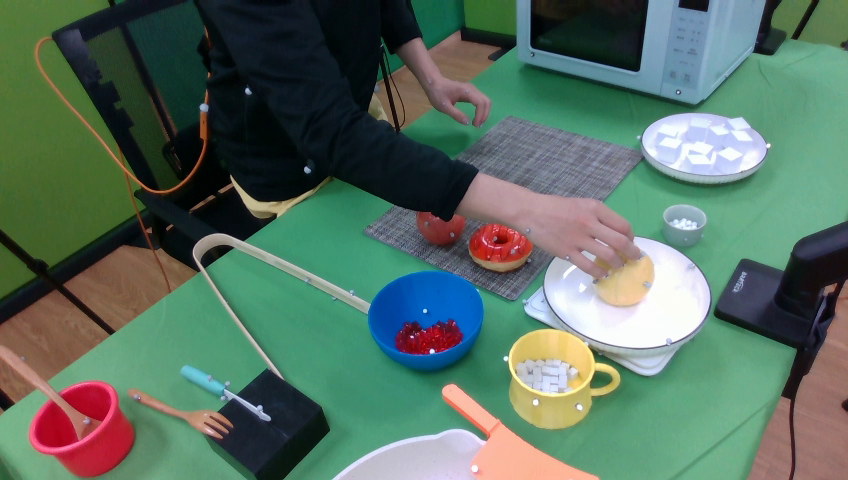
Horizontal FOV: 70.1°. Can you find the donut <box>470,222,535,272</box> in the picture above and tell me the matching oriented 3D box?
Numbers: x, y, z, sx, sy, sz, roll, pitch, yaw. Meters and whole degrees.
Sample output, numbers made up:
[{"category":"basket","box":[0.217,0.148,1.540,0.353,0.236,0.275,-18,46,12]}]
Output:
[{"category":"donut","box":[0.119,0.009,0.923,0.099,0.048,0.098,-3,38,3]}]

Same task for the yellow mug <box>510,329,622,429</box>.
[{"category":"yellow mug","box":[0.168,0.164,0.721,0.130,0.064,0.099,0,40,8]}]

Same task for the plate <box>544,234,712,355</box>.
[{"category":"plate","box":[0.262,0.072,0.792,0.209,0.038,0.208,-4,41,4]}]

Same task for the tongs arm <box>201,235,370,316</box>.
[{"category":"tongs arm","box":[-0.209,0.062,0.924,0.381,0.026,0.051,23,51,33]}]

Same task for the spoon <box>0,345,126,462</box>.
[{"category":"spoon","box":[-0.434,0.192,0.720,0.194,0.021,0.042,47,53,-6]}]

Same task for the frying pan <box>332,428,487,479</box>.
[{"category":"frying pan","box":[-0.089,0.306,0.564,0.487,0.103,0.306,10,41,7]}]

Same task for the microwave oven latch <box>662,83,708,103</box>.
[{"category":"microwave oven latch","box":[0.518,-0.296,1.204,0.078,0.029,0.030,28,52,35]}]

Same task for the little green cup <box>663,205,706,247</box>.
[{"category":"little green cup","box":[0.396,-0.020,0.926,0.061,0.039,0.061,-4,40,4]}]

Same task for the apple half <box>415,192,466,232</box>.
[{"category":"apple half","box":[0.028,-0.042,0.974,0.081,0.075,0.053,-4,37,7]}]

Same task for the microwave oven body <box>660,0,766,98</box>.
[{"category":"microwave oven body","box":[0.472,-0.513,1.317,0.438,0.261,0.327,26,51,34]}]

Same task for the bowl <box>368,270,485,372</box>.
[{"category":"bowl","box":[0.007,0.118,0.791,0.151,0.077,0.150,-5,39,4]}]

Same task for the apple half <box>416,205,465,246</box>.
[{"category":"apple half","box":[0.026,-0.017,0.943,0.081,0.081,0.032,-4,37,4]}]

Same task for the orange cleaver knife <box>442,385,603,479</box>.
[{"category":"orange cleaver knife","box":[0.086,0.219,0.612,0.209,0.012,0.077,28,49,35]}]

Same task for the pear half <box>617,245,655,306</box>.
[{"category":"pear half","box":[0.273,0.048,0.764,0.031,0.088,0.070,22,48,33]}]

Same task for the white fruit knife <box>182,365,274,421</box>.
[{"category":"white fruit knife","box":[-0.245,0.188,0.747,0.205,0.027,0.016,9,41,41]}]

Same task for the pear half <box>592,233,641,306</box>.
[{"category":"pear half","box":[0.246,0.028,0.778,0.055,0.110,0.076,23,48,33]}]

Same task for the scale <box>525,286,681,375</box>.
[{"category":"scale","box":[0.254,0.091,0.821,0.199,0.032,0.149,27,51,35]}]

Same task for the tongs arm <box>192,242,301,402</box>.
[{"category":"tongs arm","box":[-0.268,0.106,0.882,0.028,0.028,0.384,-34,45,-19]}]

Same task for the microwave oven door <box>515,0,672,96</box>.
[{"category":"microwave oven door","box":[0.343,-0.454,1.259,0.353,0.245,0.039,26,51,33]}]

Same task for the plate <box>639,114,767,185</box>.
[{"category":"plate","box":[0.489,-0.157,1.074,0.207,0.039,0.206,-4,40,4]}]

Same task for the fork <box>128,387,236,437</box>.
[{"category":"fork","box":[-0.305,0.207,0.744,0.206,0.019,0.028,3,40,36]}]
